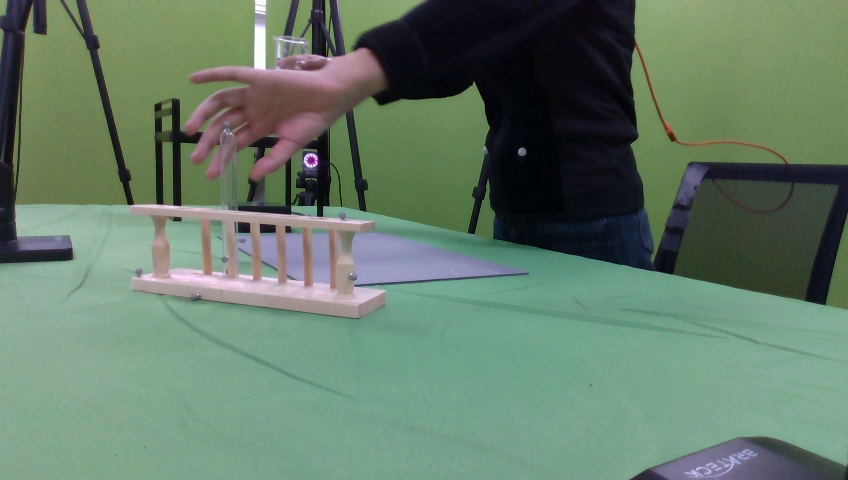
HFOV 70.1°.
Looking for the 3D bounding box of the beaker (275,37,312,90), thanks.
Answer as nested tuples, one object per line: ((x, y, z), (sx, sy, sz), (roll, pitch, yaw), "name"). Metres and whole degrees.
((-0.277, -0.371, 1.273), (0.073, 0.100, 0.084), (12, 13, 35), "beaker")

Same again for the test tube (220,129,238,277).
((-0.197, -0.036, 0.613), (0.017, 0.150, 0.017), (2, 9, 0), "test tube")

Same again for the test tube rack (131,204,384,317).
((-0.162, 0.013, 0.589), (0.242, 0.085, 0.067), (5, 8, 17), "test tube rack")
